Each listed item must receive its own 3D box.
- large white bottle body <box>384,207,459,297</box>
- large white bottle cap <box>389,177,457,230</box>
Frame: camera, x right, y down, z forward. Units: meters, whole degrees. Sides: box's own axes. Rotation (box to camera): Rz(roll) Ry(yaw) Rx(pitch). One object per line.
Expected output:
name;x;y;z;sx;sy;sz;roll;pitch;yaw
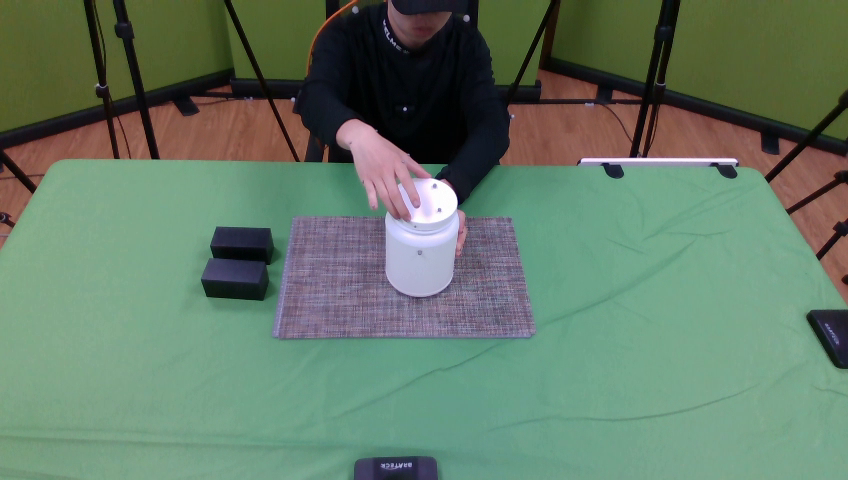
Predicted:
large white bottle body;-0.006;-0.002;1.082;0.131;0.185;0.130;2;46;-2
large white bottle cap;-0.002;-0.063;1.018;0.115;0.018;0.114;2;47;-2
